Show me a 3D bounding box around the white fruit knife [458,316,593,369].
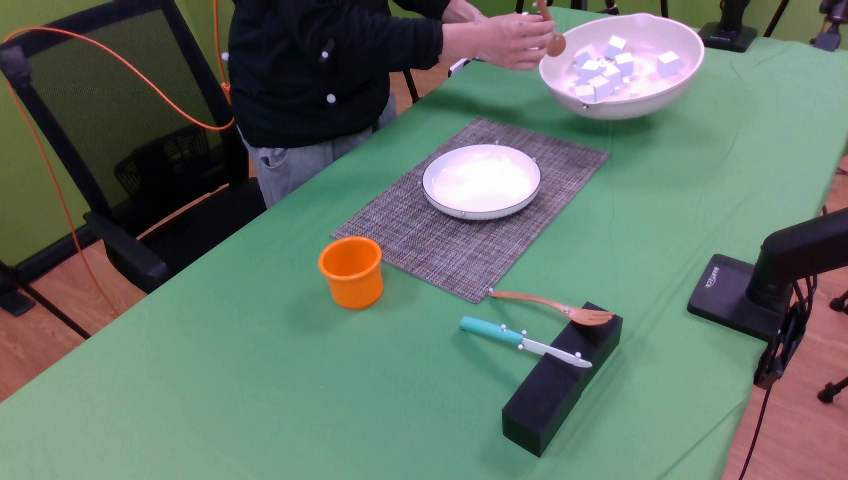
[{"bbox_3d":[0.120,0.127,0.757,0.205,0.027,0.016,12,44,43],"label":"white fruit knife"}]

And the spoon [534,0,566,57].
[{"bbox_3d":[0.211,-0.355,1.012,0.041,0.195,0.021,-36,75,12],"label":"spoon"}]

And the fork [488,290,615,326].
[{"bbox_3d":[0.160,0.086,0.800,0.205,0.019,0.028,11,46,48],"label":"fork"}]

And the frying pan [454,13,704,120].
[{"bbox_3d":[0.278,-0.356,1.180,0.485,0.103,0.307,21,55,23],"label":"frying pan"}]

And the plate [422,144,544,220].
[{"bbox_3d":[0.102,-0.097,1.048,0.207,0.039,0.206,-4,40,4],"label":"plate"}]
